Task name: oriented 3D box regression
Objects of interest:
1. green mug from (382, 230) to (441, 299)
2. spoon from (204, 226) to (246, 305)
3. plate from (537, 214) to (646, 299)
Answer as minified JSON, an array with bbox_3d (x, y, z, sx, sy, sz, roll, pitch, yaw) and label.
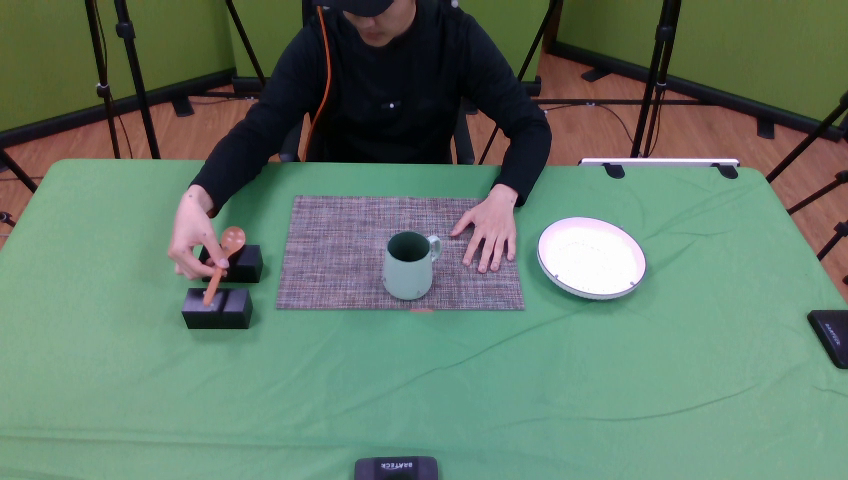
[{"bbox_3d":[-0.017,0.037,1.097,0.125,0.105,0.092,-34,57,-31],"label":"green mug"},{"bbox_3d":[-0.347,0.040,1.044,0.042,0.022,0.192,19,35,-12],"label":"spoon"},{"bbox_3d":[0.321,0.035,1.176,0.209,0.038,0.208,2,47,-2],"label":"plate"}]
